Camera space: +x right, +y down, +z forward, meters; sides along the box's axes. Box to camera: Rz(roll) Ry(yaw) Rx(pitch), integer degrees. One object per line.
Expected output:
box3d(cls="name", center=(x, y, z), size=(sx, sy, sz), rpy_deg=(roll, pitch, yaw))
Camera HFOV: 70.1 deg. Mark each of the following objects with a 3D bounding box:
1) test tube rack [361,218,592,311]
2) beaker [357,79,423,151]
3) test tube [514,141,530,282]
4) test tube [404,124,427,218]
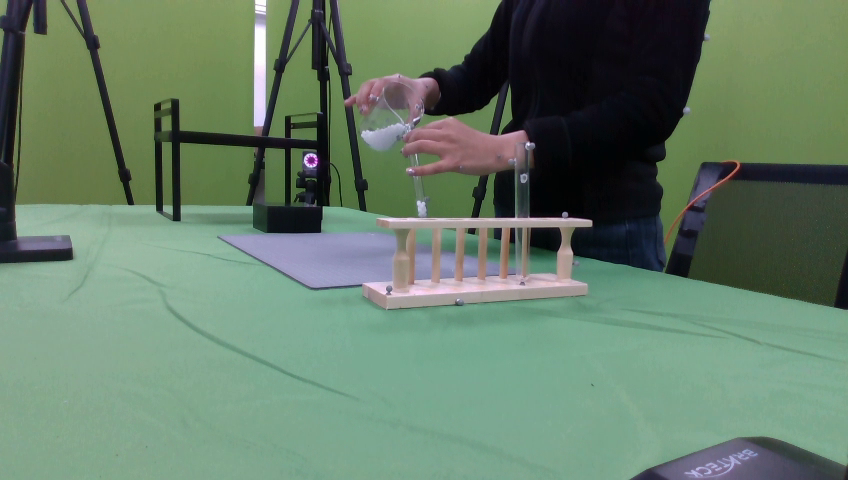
box3d(cls="test tube rack", center=(0.059, 0.018, 0.640), size=(0.243, 0.085, 0.066), rpy_deg=(-1, 8, -27))
box3d(cls="beaker", center=(-0.057, -0.194, 0.970), size=(0.074, 0.083, 0.100), rpy_deg=(3, -28, -32))
box3d(cls="test tube", center=(0.103, -0.028, 0.636), size=(0.017, 0.150, 0.017), rpy_deg=(-2, 12, 1))
box3d(cls="test tube", center=(-0.013, -0.104, 0.899), size=(0.017, 0.150, 0.017), rpy_deg=(-8, -16, -2))
